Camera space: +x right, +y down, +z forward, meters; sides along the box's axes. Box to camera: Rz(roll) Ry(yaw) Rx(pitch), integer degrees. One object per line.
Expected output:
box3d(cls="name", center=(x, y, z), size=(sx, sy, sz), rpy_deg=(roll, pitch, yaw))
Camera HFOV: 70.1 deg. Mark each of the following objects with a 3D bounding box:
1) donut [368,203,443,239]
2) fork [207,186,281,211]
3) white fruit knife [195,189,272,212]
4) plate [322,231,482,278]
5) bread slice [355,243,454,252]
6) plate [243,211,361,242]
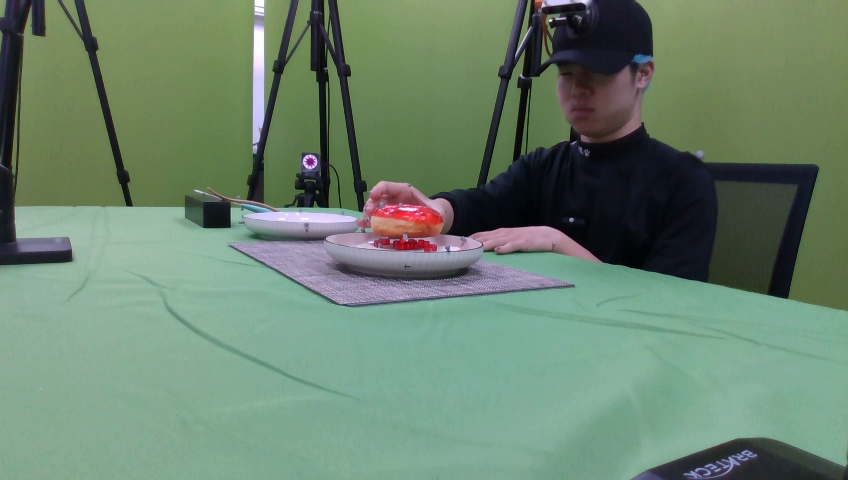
box3d(cls="donut", center=(-0.024, -0.023, 0.789), size=(0.099, 0.048, 0.099), rpy_deg=(2, 4, 0))
box3d(cls="fork", center=(-0.342, -0.070, 1.244), size=(0.208, 0.018, 0.028), rpy_deg=(18, -4, -24))
box3d(cls="white fruit knife", center=(-0.378, -0.073, 1.270), size=(0.208, 0.016, 0.027), rpy_deg=(18, -3, -32))
box3d(cls="plate", center=(-0.028, 0.018, 0.789), size=(0.209, 0.038, 0.209), rpy_deg=(3, 7, 0))
box3d(cls="bread slice", center=(-0.027, 0.020, 0.793), size=(0.131, 0.019, 0.105), rpy_deg=(6, 7, 17))
box3d(cls="plate", center=(-0.219, -0.025, 1.092), size=(0.208, 0.039, 0.207), rpy_deg=(3, 7, 0))
